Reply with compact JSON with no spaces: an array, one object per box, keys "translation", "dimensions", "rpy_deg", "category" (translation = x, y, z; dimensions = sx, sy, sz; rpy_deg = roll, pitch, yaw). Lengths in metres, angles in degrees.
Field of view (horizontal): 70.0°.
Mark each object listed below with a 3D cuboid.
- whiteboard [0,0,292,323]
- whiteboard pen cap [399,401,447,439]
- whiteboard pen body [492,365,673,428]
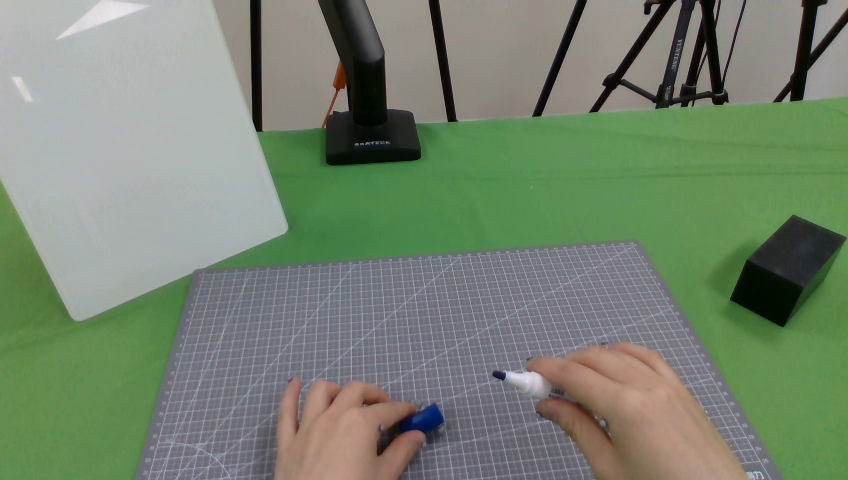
[{"translation":[-0.296,-0.118,0.586],"dimensions":[0.217,0.307,0.142],"rpy_deg":[-27,27,-29],"category":"whiteboard"},{"translation":[-0.001,0.131,0.444],"dimensions":[0.033,0.018,0.018],"rpy_deg":[-27,42,-3],"category":"whiteboard pen cap"},{"translation":[0.102,0.098,0.381],"dimensions":[0.142,0.017,0.017],"rpy_deg":[20,33,-22],"category":"whiteboard pen body"}]
